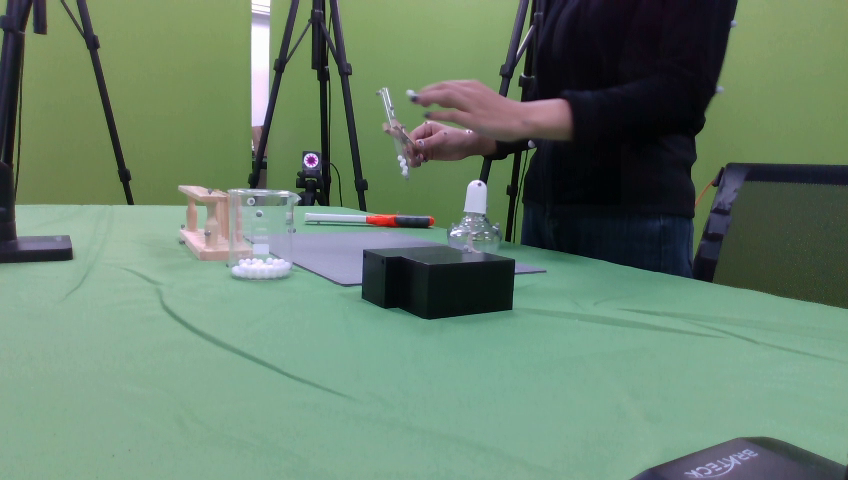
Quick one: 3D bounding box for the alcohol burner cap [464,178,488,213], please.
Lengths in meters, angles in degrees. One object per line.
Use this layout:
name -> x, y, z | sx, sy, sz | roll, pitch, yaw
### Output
alcohol burner cap -> 0.073, -0.060, 0.824 | 0.034, 0.048, 0.034 | 6, 4, 0

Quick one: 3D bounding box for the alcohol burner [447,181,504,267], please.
alcohol burner -> 0.070, -0.024, 0.828 | 0.078, 0.119, 0.078 | 0, 6, 0

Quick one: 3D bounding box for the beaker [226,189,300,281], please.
beaker -> -0.184, -0.007, 0.694 | 0.084, 0.100, 0.073 | -1, 8, -29

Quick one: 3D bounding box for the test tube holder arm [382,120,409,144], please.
test tube holder arm -> -0.043, -0.176, 0.994 | 0.010, 0.015, 0.088 | -18, -15, 22

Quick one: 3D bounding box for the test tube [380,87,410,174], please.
test tube -> -0.046, -0.176, 0.971 | 0.017, 0.150, 0.017 | -14, -9, -2

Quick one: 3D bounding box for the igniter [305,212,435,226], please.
igniter -> -0.114, -0.046, 1.296 | 0.277, 0.025, 0.057 | 1, -2, -11

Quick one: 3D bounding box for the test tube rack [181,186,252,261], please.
test tube rack -> -0.312, -0.031, 0.893 | 0.067, 0.085, 0.241 | -1, 8, -27

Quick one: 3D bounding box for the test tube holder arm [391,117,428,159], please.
test tube holder arm -> -0.022, -0.171, 1.035 | 0.013, 0.015, 0.179 | -15, -14, 15
